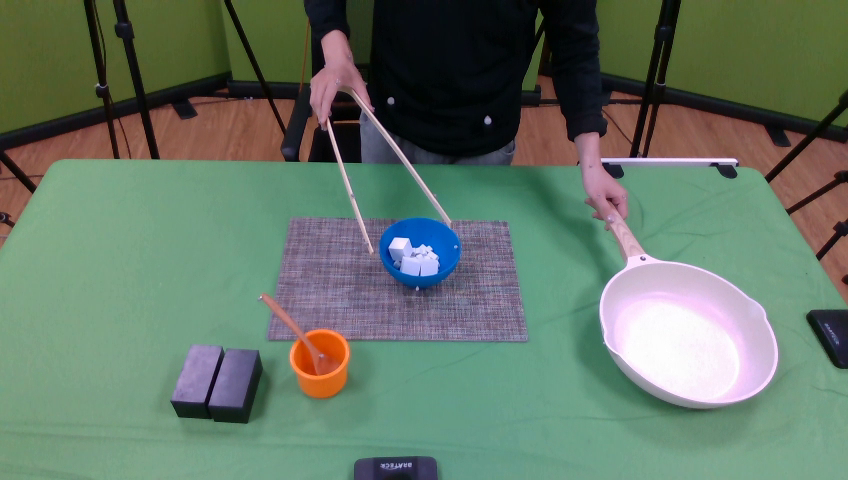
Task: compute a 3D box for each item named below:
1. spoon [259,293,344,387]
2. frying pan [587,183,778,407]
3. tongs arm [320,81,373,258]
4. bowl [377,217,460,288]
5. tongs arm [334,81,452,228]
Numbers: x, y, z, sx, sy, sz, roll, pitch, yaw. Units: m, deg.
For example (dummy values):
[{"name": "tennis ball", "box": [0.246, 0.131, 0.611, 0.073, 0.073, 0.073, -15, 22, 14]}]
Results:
[{"name": "spoon", "box": [-0.191, 0.155, 0.947, 0.021, 0.194, 0.041, -12, 28, 51]}, {"name": "frying pan", "box": [0.412, 0.079, 1.097, 0.307, 0.103, 0.484, -9, 56, -14]}, {"name": "tongs arm", "box": [-0.131, -0.137, 1.082, 0.051, 0.026, 0.382, -19, 62, -8]}, {"name": "bowl", "box": [-0.012, 0.036, 1.118, 0.151, 0.077, 0.150, 2, 46, -2]}, {"name": "tongs arm", "box": [-0.060, -0.165, 1.098, 0.028, 0.028, 0.385, -31, 65, -11]}]
